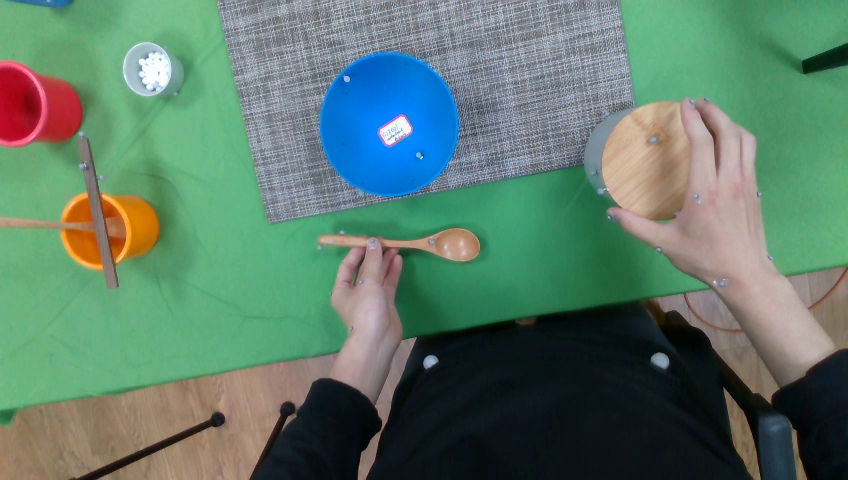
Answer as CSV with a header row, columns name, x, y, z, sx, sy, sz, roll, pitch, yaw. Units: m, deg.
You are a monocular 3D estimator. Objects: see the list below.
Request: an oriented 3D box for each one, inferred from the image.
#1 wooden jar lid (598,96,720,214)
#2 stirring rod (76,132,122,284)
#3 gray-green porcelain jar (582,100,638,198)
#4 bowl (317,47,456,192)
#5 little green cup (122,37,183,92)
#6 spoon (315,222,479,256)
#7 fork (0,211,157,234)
name,x,y,z,sx,sy,sz,roll,pitch,yaw
wooden jar lid,0.216,-0.078,0.563,0.108,0.020,0.108,1,101,5
stirring rod,-0.372,-0.036,0.695,0.014,0.006,0.176,-9,97,10
gray-green porcelain jar,0.222,-0.090,0.623,0.106,0.126,0.106,1,101,5
bowl,-0.035,-0.130,0.673,0.151,0.077,0.151,1,99,7
little green cup,-0.321,-0.206,0.722,0.061,0.038,0.061,1,99,8
spoon,-0.032,-0.004,0.715,0.194,0.021,0.042,2,110,-1
fork,-0.424,-0.023,0.705,0.209,0.018,0.028,2,104,-37
